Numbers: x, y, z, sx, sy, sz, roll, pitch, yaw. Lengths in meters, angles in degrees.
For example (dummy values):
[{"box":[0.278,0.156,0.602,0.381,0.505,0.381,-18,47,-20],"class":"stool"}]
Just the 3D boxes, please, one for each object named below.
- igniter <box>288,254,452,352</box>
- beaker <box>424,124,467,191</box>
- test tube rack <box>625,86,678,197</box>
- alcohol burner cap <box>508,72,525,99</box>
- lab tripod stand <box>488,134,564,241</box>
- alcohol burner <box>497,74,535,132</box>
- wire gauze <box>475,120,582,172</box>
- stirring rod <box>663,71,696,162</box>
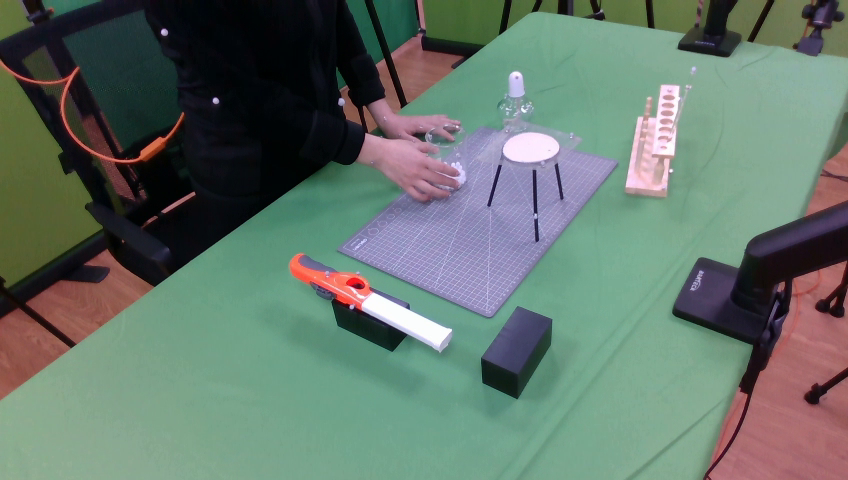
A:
[{"box":[-0.083,0.079,0.818,0.274,0.025,0.057,23,46,27],"class":"igniter"},{"box":[0.042,-0.146,1.078,0.073,0.100,0.084,29,51,31],"class":"beaker"},{"box":[0.412,-0.184,1.088,0.066,0.085,0.242,9,43,18],"class":"test tube rack"},{"box":[0.181,-0.306,1.186,0.034,0.048,0.033,-7,39,6],"class":"alcohol burner cap"},{"box":[0.168,-0.092,0.972,0.148,0.132,0.147,-5,41,5],"class":"lab tripod stand"},{"box":[0.184,-0.278,1.210,0.078,0.119,0.077,-3,42,3],"class":"alcohol burner"},{"box":[0.161,-0.143,0.928,0.120,0.011,0.125,20,47,30],"class":"wire gauze"},{"box":[0.410,-0.195,0.981,0.014,0.177,0.006,11,50,13],"class":"stirring rod"}]
